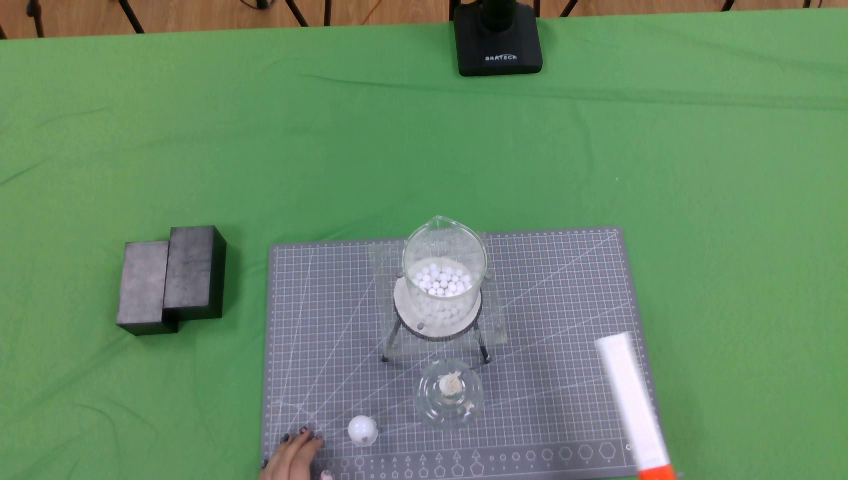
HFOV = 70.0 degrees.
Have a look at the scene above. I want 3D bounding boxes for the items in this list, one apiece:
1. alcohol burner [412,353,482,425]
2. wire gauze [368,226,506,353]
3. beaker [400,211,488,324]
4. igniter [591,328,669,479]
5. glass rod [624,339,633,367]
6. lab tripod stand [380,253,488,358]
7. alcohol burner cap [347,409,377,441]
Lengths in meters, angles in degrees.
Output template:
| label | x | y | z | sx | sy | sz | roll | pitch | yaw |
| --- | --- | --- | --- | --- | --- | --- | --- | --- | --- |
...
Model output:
| label | x | y | z | sx | sy | sz | roll | pitch | yaw |
| --- | --- | --- | --- | --- | --- | --- | --- | --- | --- |
| alcohol burner | 0.025 | 0.155 | 0.644 | 0.078 | 0.120 | 0.077 | 0 | 66 | 0 |
| wire gauze | 0.011 | 0.047 | 0.605 | 0.125 | 0.011 | 0.120 | -8 | 66 | -2 |
| beaker | 0.016 | 0.030 | 0.560 | 0.074 | 0.101 | 0.083 | -6 | 66 | -3 |
| igniter | 0.213 | 0.222 | 0.575 | 0.057 | 0.025 | 0.275 | -16 | 78 | 11 |
| glass rod | 0.245 | 0.209 | 0.684 | 0.008 | 0.008 | 0.198 | -3 | 68 | -3 |
| lab tripod stand | 0.011 | 0.075 | 0.665 | 0.148 | 0.132 | 0.147 | 0 | 67 | 1 |
| alcohol burner cap | -0.068 | 0.201 | 0.663 | 0.034 | 0.048 | 0.033 | 0 | 68 | -1 |
